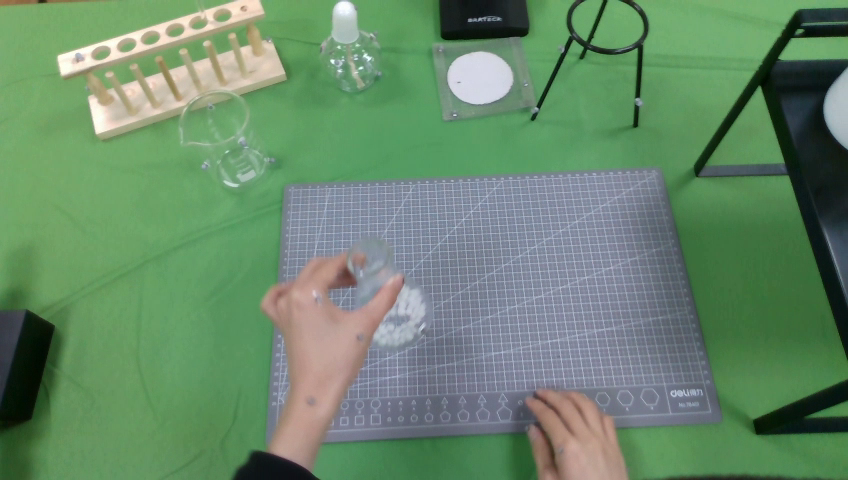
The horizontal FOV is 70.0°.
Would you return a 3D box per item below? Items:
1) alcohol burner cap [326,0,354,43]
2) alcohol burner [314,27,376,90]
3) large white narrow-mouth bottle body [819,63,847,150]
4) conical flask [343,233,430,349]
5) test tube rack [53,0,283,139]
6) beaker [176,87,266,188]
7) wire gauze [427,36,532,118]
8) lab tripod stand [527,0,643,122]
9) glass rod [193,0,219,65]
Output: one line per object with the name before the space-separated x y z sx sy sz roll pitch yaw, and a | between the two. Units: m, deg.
alcohol burner cap | -0.099 -0.261 0.714 0.034 0.048 0.033 4 63 -7
alcohol burner | -0.099 -0.243 0.746 0.078 0.120 0.077 0 62 0
large white narrow-mouth bottle body | 0.395 -0.149 0.451 0.102 0.196 0.101 0 62 0
conical flask | -0.038 0.040 0.524 0.075 0.123 0.074 -4 58 6
test tube rack | -0.309 -0.214 0.750 0.242 0.086 0.066 -21 66 -9
beaker | -0.229 -0.110 0.692 0.073 0.101 0.084 41 72 19
wire gauze | 0.071 -0.218 0.790 0.121 0.011 0.124 -7 64 -4
lab tripod stand | 0.199 -0.213 0.716 0.148 0.132 0.147 1 63 -1
glass rod | -0.264 -0.277 0.706 0.008 0.201 0.008 2 62 -3
